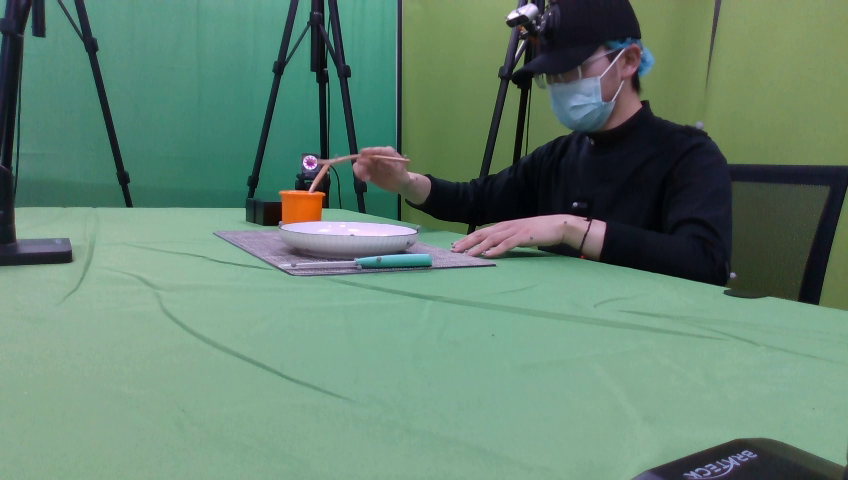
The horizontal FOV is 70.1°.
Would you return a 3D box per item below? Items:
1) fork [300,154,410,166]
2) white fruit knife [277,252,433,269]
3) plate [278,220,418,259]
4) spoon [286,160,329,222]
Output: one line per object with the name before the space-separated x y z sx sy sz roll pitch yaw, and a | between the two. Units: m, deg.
fork | -0.124 -0.148 1.114 0.208 0.018 0.028 -7 8 -20
white fruit knife | -0.082 0.029 0.772 0.208 0.016 0.027 -3 -20 -22
plate | -0.114 -0.002 0.914 0.209 0.038 0.209 2 7 0
spoon | -0.233 -0.101 1.252 0.041 0.193 0.022 4 -37 22
